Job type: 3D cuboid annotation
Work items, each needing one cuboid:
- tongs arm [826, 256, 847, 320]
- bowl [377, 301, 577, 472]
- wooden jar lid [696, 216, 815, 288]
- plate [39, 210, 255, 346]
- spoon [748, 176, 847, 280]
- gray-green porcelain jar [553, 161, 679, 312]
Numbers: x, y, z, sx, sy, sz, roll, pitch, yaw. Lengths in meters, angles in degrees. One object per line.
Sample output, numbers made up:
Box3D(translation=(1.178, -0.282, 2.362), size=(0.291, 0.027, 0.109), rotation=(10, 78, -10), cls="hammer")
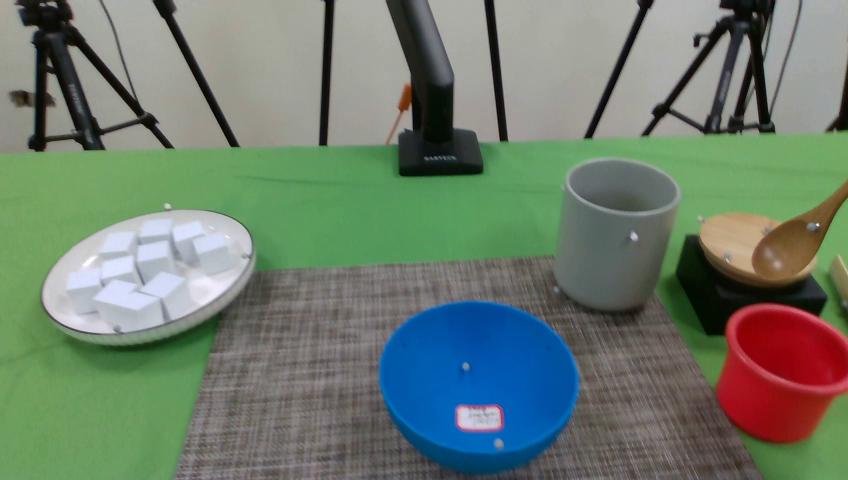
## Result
Box3D(translation=(0.414, 0.137, 0.513), size=(0.028, 0.028, 0.384), rotation=(8, 37, 7), cls="tongs arm")
Box3D(translation=(0.039, 0.126, 0.477), size=(0.151, 0.077, 0.150), rotation=(0, 36, 0), cls="bowl")
Box3D(translation=(0.328, 0.012, 0.606), size=(0.108, 0.021, 0.107), rotation=(-1, 36, 1), cls="wooden jar lid")
Box3D(translation=(-0.282, 0.039, 0.635), size=(0.209, 0.038, 0.207), rotation=(-1, 36, 1), cls="plate")
Box3D(translation=(0.293, -0.039, 0.412), size=(0.022, 0.195, 0.041), rotation=(3, 49, -18), cls="spoon")
Box3D(translation=(0.187, 0.001, 0.609), size=(0.106, 0.127, 0.105), rotation=(0, 36, 0), cls="gray-green porcelain jar")
